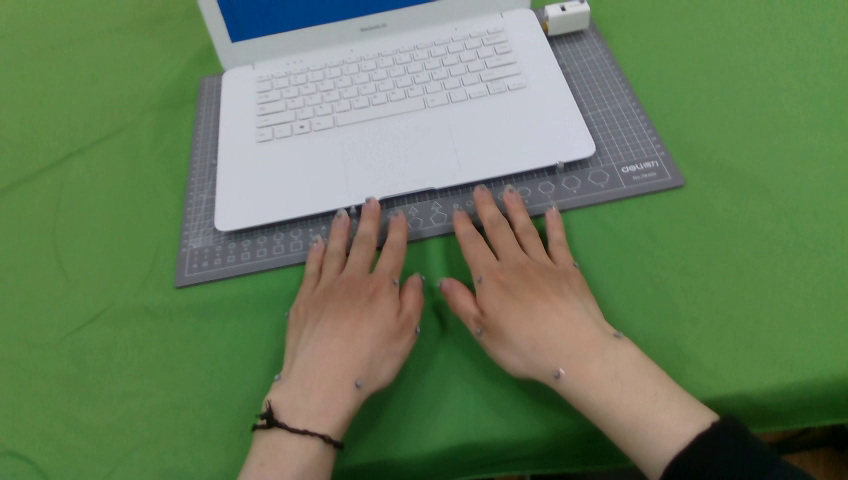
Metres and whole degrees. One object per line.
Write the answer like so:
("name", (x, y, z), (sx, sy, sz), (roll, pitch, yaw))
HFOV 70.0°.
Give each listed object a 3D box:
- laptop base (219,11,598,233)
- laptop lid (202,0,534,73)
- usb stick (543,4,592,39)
("laptop base", (-0.030, -0.127, 0.617), (0.354, 0.023, 0.233), (-12, 55, 0))
("laptop lid", (-0.067, -0.314, 0.621), (0.357, 0.244, 0.013), (-13, 35, 1))
("usb stick", (0.149, -0.235, 0.655), (0.059, 0.027, 0.021), (-11, 53, 3))
